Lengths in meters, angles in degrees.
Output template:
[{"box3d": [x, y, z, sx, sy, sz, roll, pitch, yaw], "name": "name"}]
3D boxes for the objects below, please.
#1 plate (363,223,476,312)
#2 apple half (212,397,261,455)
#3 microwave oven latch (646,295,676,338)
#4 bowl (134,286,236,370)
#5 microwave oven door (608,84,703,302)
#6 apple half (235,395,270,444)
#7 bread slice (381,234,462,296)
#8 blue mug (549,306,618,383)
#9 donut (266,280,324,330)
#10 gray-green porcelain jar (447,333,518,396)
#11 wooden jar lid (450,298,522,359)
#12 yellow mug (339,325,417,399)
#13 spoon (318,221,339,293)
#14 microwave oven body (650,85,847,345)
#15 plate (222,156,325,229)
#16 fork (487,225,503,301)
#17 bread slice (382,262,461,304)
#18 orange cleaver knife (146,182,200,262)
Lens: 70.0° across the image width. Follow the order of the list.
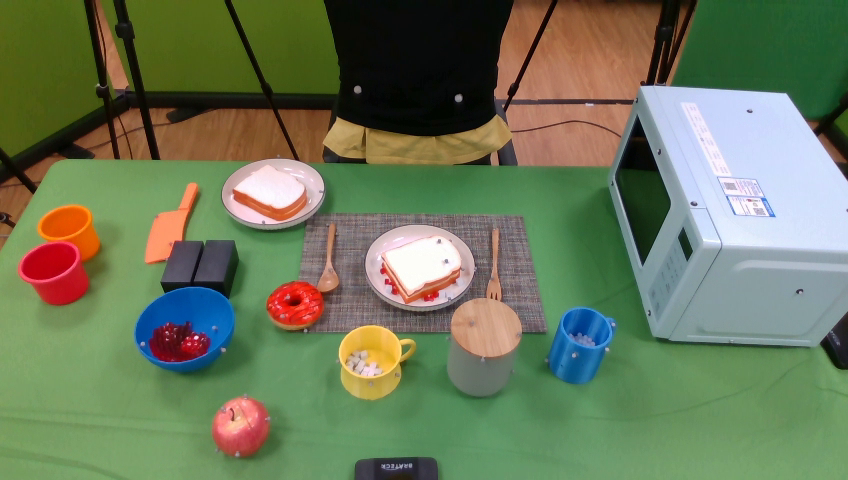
[{"box3d": [-0.009, 0.054, 1.126, 0.208, 0.039, 0.206, 2, 46, -2], "name": "plate"}, {"box3d": [-0.276, 0.276, 0.877, 0.053, 0.075, 0.080, -29, 58, -20], "name": "apple half"}, {"box3d": [0.412, 0.133, 1.060, 0.030, 0.029, 0.078, 4, 46, 1], "name": "microwave oven latch"}, {"box3d": [-0.377, 0.156, 0.981, 0.151, 0.077, 0.150, 2, 46, -2], "name": "bowl"}, {"box3d": [0.424, -0.096, 1.138, 0.039, 0.245, 0.353, 3, 46, -1], "name": "microwave oven door"}, {"box3d": [-0.245, 0.259, 0.893, 0.033, 0.082, 0.081, -29, 55, -22], "name": "apple half"}, {"box3d": [0.001, 0.038, 1.108, 0.134, 0.018, 0.106, -25, 56, -22], "name": "bread slice"}, {"box3d": [0.269, 0.166, 0.997, 0.116, 0.106, 0.082, -19, 51, -21], "name": "blue mug"}, {"box3d": [-0.223, 0.112, 1.051, 0.099, 0.048, 0.098, 2, 46, -2], "name": "donut"}, {"box3d": [0.091, 0.178, 0.960, 0.106, 0.127, 0.105, 2, 46, -2], "name": "gray-green porcelain jar"}, {"box3d": [0.093, 0.135, 0.914, 0.108, 0.021, 0.107, 2, 48, -3], "name": "wooden jar lid"}, {"box3d": [-0.072, 0.191, 0.978, 0.131, 0.064, 0.099, -17, 50, -20], "name": "yellow mug"}, {"box3d": [-0.178, 0.028, 1.149, 0.041, 0.022, 0.192, -18, 46, 13], "name": "spoon"}, {"box3d": [0.569, -0.054, 1.116, 0.326, 0.261, 0.439, 2, 46, -1], "name": "microwave oven body"}, {"box3d": [-0.307, -0.094, 1.251, 0.209, 0.038, 0.208, 2, 46, -2], "name": "plate"}, {"box3d": [0.138, 0.042, 1.160, 0.028, 0.019, 0.206, 0, 47, 9], "name": "fork"}, {"box3d": [0.000, 0.056, 1.130, 0.131, 0.019, 0.104, -23, 51, -20], "name": "bread slice"}, {"box3d": [-0.494, -0.039, 1.198, 0.077, 0.012, 0.210, -3, 48, 2], "name": "orange cleaver knife"}]
